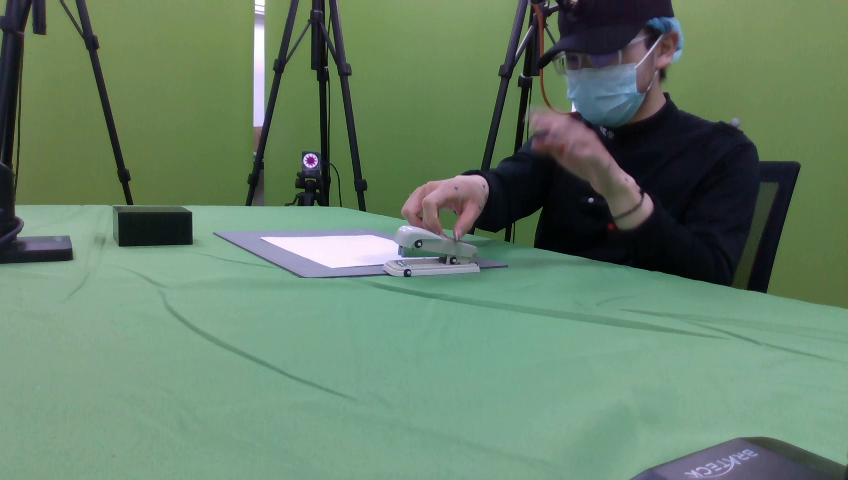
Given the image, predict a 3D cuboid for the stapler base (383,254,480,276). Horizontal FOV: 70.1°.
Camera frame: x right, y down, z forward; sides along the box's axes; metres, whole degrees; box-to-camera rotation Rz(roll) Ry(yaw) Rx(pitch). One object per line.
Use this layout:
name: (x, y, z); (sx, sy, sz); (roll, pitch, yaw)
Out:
stapler base: (0.011, 0.027, 0.773); (0.131, 0.024, 0.041); (0, 18, -31)

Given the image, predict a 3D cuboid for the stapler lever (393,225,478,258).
stapler lever: (0.016, 0.003, 0.768); (0.119, 0.040, 0.026); (0, 18, -31)
